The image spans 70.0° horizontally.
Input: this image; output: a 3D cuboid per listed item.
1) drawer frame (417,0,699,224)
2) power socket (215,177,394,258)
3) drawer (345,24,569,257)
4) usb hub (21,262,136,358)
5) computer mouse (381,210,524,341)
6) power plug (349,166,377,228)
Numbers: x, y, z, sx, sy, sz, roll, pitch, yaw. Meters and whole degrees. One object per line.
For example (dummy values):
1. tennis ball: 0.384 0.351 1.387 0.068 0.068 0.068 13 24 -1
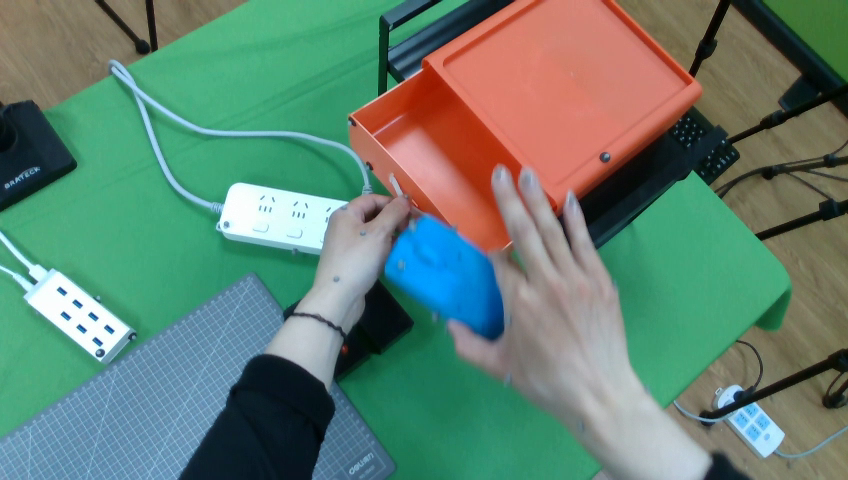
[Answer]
1. drawer frame: 0.133 -0.158 0.632 0.213 0.083 0.201 -38 79 -17
2. power socket: -0.151 -0.028 0.774 0.227 0.033 0.072 10 71 -2
3. drawer: 0.061 -0.100 0.607 0.211 0.073 0.193 -38 79 -16
4. usb hub: -0.408 0.083 0.715 0.125 0.025 0.049 36 73 6
5. computer mouse: 0.024 0.027 0.499 0.117 0.041 0.062 37 81 6
6. power plug: -0.071 -0.049 0.770 0.035 0.053 0.072 21 69 2
